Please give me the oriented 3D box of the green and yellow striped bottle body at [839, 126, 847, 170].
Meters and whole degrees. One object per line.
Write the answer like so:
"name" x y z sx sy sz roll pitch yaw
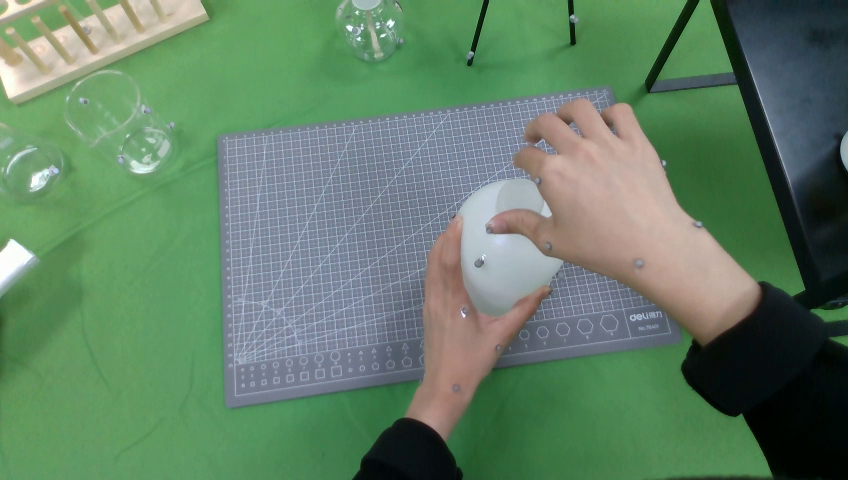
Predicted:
"green and yellow striped bottle body" 0.350 -0.086 0.413 0.063 0.120 0.063 0 70 1

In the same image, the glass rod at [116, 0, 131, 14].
"glass rod" -0.367 -0.314 0.637 0.008 0.201 0.008 -3 65 7

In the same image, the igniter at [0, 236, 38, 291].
"igniter" -0.468 0.108 0.542 0.057 0.025 0.276 35 71 10

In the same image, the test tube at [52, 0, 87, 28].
"test tube" -0.408 -0.280 0.643 0.017 0.151 0.017 -2 67 4

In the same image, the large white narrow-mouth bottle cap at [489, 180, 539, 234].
"large white narrow-mouth bottle cap" 0.068 -0.024 0.450 0.038 0.024 0.037 0 72 1

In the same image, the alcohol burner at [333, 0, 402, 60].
"alcohol burner" -0.064 -0.257 0.671 0.078 0.120 0.077 0 69 0

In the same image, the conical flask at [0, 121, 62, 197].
"conical flask" -0.436 -0.099 0.613 0.075 0.122 0.075 0 70 1

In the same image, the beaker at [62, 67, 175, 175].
"beaker" -0.312 -0.116 0.630 0.074 0.101 0.083 7 71 4

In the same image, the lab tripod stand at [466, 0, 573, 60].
"lab tripod stand" 0.105 -0.278 0.665 0.148 0.132 0.147 0 69 0

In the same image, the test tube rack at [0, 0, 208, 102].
"test tube rack" -0.384 -0.255 0.686 0.242 0.086 0.066 -28 72 -9

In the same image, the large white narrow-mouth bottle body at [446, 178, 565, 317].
"large white narrow-mouth bottle body" 0.071 0.002 0.534 0.102 0.196 0.101 0 72 1

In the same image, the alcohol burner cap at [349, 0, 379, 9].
"alcohol burner cap" -0.066 -0.271 0.637 0.034 0.048 0.033 0 69 0
